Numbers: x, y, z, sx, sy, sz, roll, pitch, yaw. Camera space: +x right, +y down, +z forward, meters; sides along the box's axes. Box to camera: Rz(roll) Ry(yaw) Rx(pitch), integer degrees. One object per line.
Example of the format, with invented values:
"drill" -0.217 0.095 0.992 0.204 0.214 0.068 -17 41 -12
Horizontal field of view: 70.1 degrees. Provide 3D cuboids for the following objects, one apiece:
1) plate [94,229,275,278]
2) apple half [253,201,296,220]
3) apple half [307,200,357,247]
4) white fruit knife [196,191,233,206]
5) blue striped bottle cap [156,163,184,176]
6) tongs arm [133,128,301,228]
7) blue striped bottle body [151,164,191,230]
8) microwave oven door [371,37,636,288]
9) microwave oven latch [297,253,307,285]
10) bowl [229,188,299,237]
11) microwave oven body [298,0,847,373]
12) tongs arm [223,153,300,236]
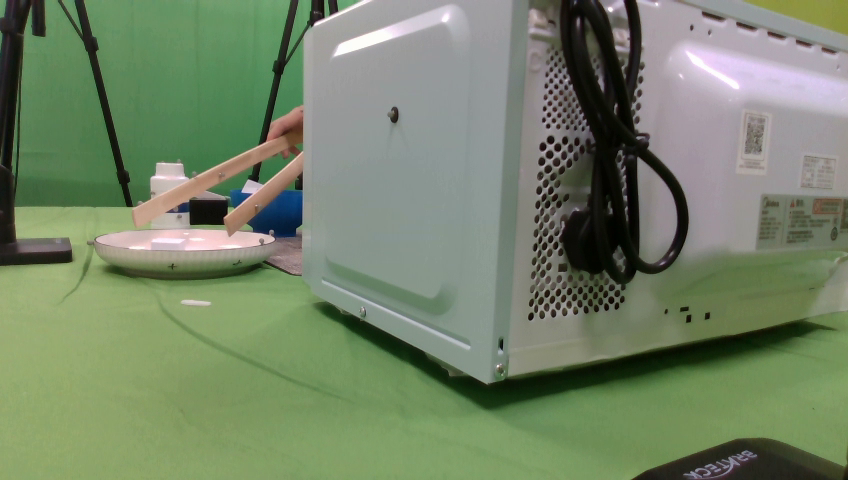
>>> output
"plate" -0.291 0.016 0.750 0.208 0.039 0.207 2 7 0
"apple half" -0.264 -0.053 1.066 0.081 0.033 0.081 2 8 0
"apple half" -0.135 -0.024 0.941 0.053 0.074 0.081 13 9 39
"white fruit knife" -0.413 -0.081 1.270 0.208 0.027 0.016 17 13 -41
"blue striped bottle cap" -0.438 -0.122 1.045 0.044 0.020 0.044 5 6 0
"tongs arm" -0.266 -0.103 0.882 0.050 0.026 0.385 4 26 18
"blue striped bottle body" -0.439 -0.071 1.052 0.063 0.120 0.063 2 8 0
"microwave oven door" 0.109 -0.080 0.686 0.358 0.243 0.039 -2 9 -33
"microwave oven latch" -0.081 0.027 0.582 0.079 0.029 0.030 -1 7 -32
"bowl" -0.264 -0.048 1.066 0.151 0.077 0.151 2 8 0
"microwave oven body" 0.151 -0.055 0.542 0.444 0.260 0.324 -2 7 -33
"tongs arm" -0.201 -0.098 0.866 0.028 0.028 0.387 -3 25 11
